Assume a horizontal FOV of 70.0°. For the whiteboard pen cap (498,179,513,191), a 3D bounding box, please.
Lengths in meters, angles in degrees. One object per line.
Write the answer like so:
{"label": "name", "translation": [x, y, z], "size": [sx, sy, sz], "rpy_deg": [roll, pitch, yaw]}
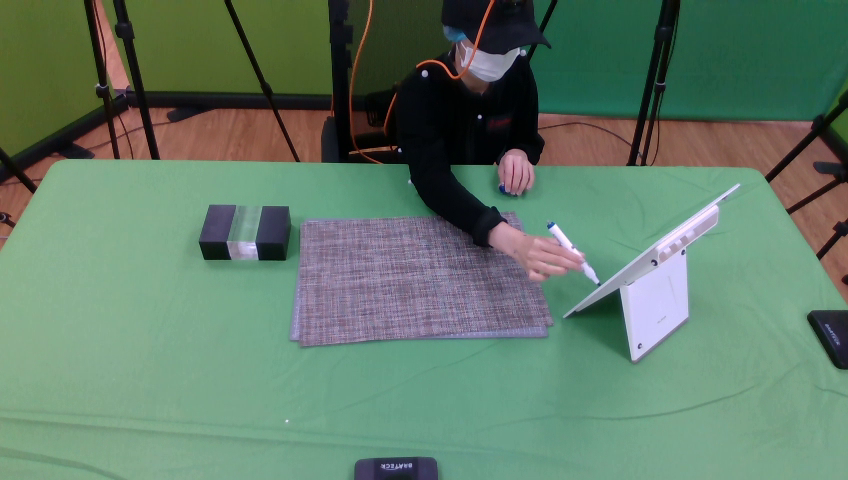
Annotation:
{"label": "whiteboard pen cap", "translation": [0.176, -0.120, 1.317], "size": [0.033, 0.018, 0.018], "rpy_deg": [-31, 56, -21]}

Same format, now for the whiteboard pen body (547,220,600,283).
{"label": "whiteboard pen body", "translation": [0.257, 0.023, 1.031], "size": [0.141, 0.017, 0.017], "rpy_deg": [50, 54, -5]}

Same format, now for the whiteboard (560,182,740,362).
{"label": "whiteboard", "translation": [0.406, 0.075, 1.001], "size": [0.217, 0.306, 0.143], "rpy_deg": [-28, 73, -28]}
